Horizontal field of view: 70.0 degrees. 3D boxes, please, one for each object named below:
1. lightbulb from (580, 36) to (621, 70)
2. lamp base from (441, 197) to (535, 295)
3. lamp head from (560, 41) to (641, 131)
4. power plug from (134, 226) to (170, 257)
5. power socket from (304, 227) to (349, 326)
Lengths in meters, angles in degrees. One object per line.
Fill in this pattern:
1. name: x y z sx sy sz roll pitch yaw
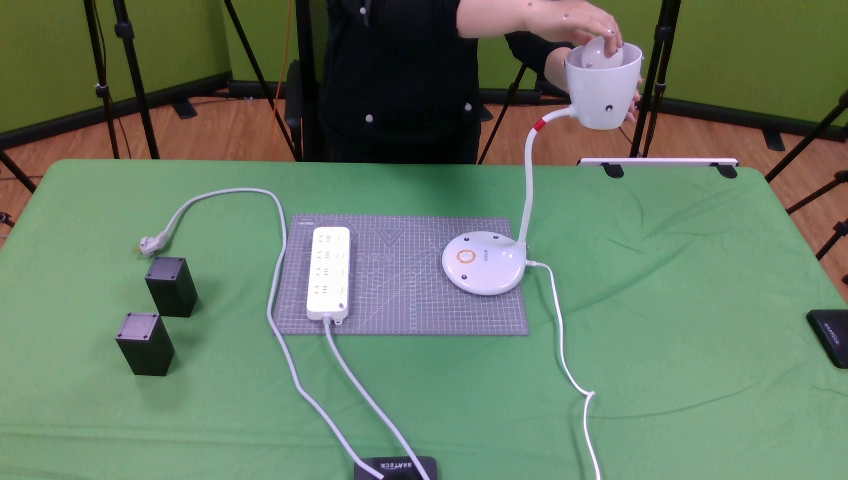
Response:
1. lightbulb: 0.268 -0.255 0.922 0.059 0.108 0.059 -6 33 4
2. lamp base: 0.129 -0.012 1.105 0.179 0.181 0.159 -1 46 -9
3. lamp head: 0.269 -0.230 0.934 0.112 0.123 0.112 -3 37 2
4. power plug: -0.515 0.006 1.153 0.052 0.035 0.072 -6 24 7
5. power socket: -0.177 0.059 1.115 0.072 0.033 0.225 -1 46 -4
